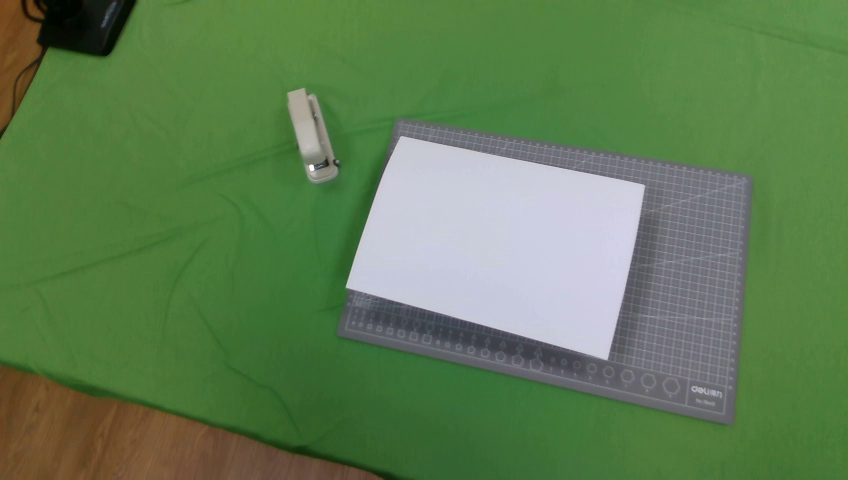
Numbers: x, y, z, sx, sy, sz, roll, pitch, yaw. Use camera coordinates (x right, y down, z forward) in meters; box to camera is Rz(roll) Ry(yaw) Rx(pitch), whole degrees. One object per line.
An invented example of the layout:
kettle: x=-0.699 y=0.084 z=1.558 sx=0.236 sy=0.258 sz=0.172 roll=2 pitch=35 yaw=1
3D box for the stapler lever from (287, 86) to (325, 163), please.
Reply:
stapler lever: x=-0.152 y=-0.150 z=0.771 sx=0.027 sy=0.040 sz=0.117 roll=-16 pitch=71 yaw=-5

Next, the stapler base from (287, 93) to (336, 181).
stapler base: x=-0.149 y=-0.140 z=0.793 sx=0.041 sy=0.024 sz=0.129 roll=-16 pitch=69 yaw=-5
